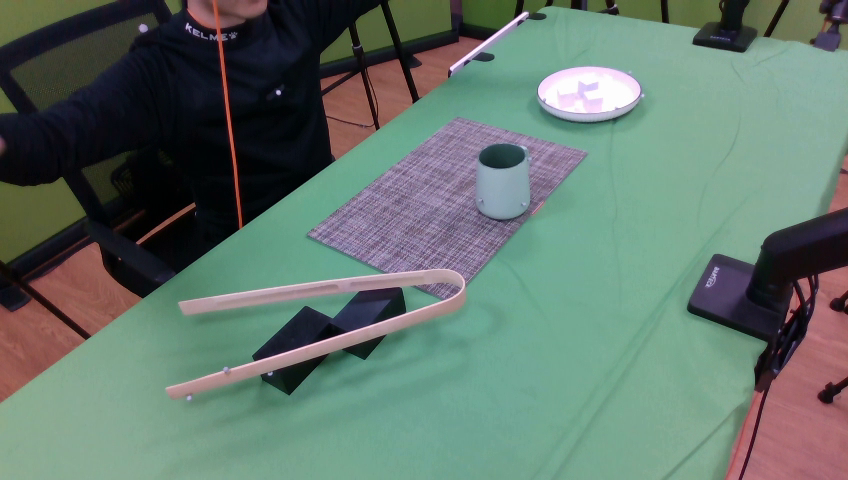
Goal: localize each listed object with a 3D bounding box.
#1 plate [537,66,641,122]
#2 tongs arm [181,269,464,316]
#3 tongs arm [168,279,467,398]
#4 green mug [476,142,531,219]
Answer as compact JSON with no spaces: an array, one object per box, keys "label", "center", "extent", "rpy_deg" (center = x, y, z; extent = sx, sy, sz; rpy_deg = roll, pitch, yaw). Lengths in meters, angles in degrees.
[{"label":"plate","center":[0.338,-0.299,1.255],"extent":[0.209,0.038,0.208],"rpy_deg":[-4,41,4]},{"label":"tongs arm","center":[-0.139,0.074,0.827],"extent":[0.388,0.028,0.028],"rpy_deg":[-7,34,1]},{"label":"tongs arm","center":[-0.124,0.121,0.767],"extent":[0.386,0.026,0.050],"rpy_deg":[-15,38,-9]},{"label":"green mug","center":[0.140,-0.106,1.002],"extent":[0.092,0.105,0.125],"rpy_deg":[21,48,30]}]
